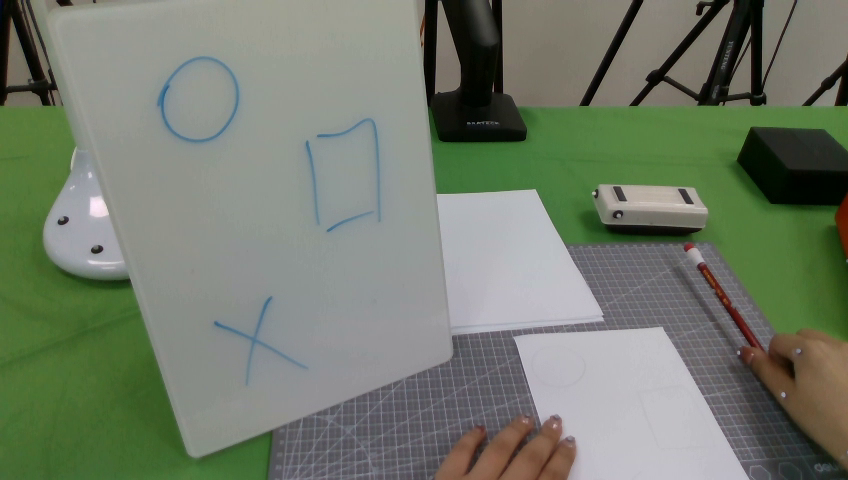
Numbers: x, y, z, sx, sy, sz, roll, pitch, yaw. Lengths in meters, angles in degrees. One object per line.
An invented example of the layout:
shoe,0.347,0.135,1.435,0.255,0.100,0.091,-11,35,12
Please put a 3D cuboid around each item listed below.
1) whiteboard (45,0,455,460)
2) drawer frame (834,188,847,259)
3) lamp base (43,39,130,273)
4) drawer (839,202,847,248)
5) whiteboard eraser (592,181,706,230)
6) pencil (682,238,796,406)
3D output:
whiteboard,-0.115,-0.031,0.471,0.218,0.307,0.142,-16,25,-22
drawer frame,0.535,0.030,0.588,0.201,0.083,0.212,14,40,12
lamp base,-0.301,-0.086,0.570,0.178,0.182,0.160,25,44,26
drawer,0.535,0.033,0.586,0.194,0.074,0.210,14,40,13
whiteboard eraser,0.249,-0.038,0.675,0.113,0.042,0.055,3,41,-2
pencil,0.284,0.067,0.554,0.012,0.012,0.192,-4,44,-9
